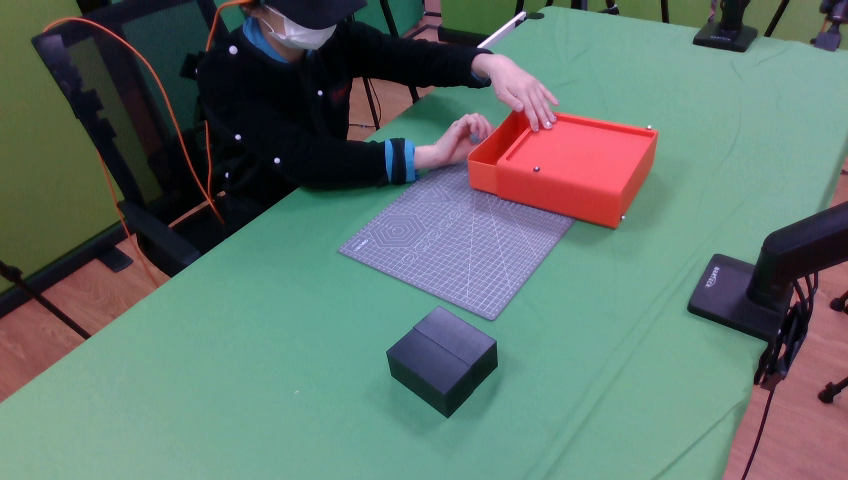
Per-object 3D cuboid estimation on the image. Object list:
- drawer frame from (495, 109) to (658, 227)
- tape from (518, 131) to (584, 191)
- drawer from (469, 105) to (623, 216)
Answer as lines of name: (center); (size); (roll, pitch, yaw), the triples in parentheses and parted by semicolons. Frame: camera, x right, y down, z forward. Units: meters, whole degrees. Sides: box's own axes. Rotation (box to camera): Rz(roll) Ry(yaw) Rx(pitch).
drawer frame: (0.260, -0.130, 1.031); (0.212, 0.083, 0.202); (18, 46, 26)
tape: (0.221, -0.139, 1.059); (0.117, 0.053, 0.116); (-4, 41, 4)
drawer: (0.215, -0.144, 1.057); (0.210, 0.073, 0.195); (20, 47, 26)
